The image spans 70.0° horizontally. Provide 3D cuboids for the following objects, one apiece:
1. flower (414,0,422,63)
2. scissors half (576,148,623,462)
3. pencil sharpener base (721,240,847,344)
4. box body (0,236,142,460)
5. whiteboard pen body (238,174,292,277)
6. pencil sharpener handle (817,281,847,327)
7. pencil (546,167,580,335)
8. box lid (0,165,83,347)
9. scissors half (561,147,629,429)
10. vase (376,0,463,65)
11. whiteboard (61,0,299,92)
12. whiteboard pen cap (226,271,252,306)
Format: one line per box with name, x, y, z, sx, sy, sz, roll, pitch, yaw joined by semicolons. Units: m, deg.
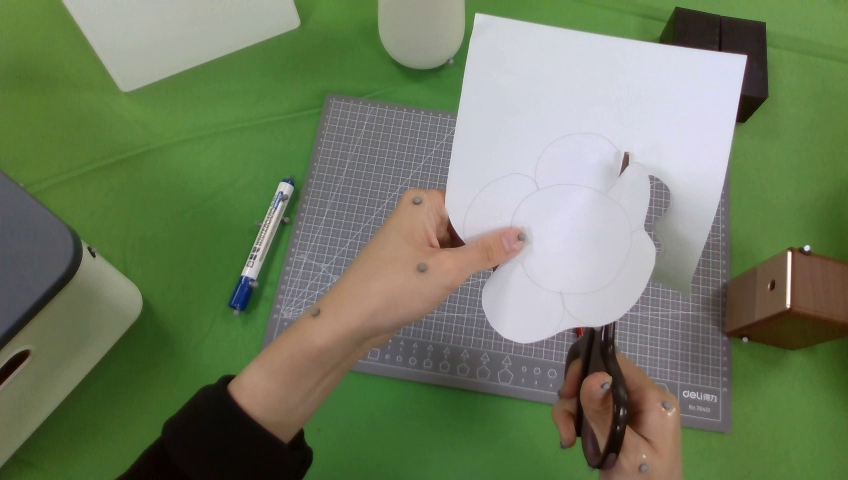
flower;-0.010;-0.314;0.545;0.044;0.365;0.038;2;52;3
scissors half;0.102;0.036;0.335;0.013;0.040;0.175;5;87;-7
pencil sharpener base;0.337;0.052;0.558;0.077;0.107;0.061;13;70;0
box body;-0.471;0.024;0.521;0.362;0.161;0.253;35;73;10
whiteboard pen body;-0.164;-0.006;0.615;0.017;0.017;0.140;15;69;5
pencil sharpener handle;0.387;0.061;0.546;0.030;0.068;0.035;13;64;1
pencil;0.143;0.015;0.618;0.012;0.012;0.193;-4;72;-2
box lid;-0.471;-0.003;0.452;0.370;0.015;0.262;35;73;10
scissors half;0.101;0.033;0.357;0.013;0.040;0.176;6;111;-2
vase;-0.006;-0.272;0.618;0.098;0.201;0.097;0;69;0
whiteboard;-0.291;-0.350;0.615;0.217;0.308;0.142;-24;53;-9
whiteboard pen cap;-0.179;0.047;0.593;0.018;0.018;0.033;15;66;5
